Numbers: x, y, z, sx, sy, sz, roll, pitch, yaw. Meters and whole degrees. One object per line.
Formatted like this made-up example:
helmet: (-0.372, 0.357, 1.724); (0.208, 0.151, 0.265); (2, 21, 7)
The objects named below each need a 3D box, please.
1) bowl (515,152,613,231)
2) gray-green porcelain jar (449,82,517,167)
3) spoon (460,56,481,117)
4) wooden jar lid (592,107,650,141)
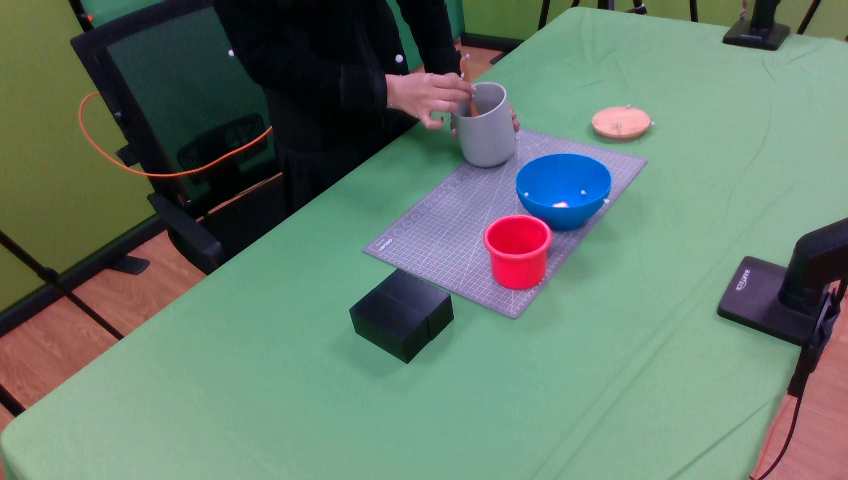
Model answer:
bowl: (0.224, -0.068, 0.972); (0.151, 0.077, 0.150); (-5, 40, 5)
gray-green porcelain jar: (0.112, -0.208, 1.114); (0.105, 0.127, 0.105); (-11, 46, 12)
spoon: (0.086, -0.241, 1.061); (0.041, 0.195, 0.021); (-27, 46, -2)
wooden jar lid: (0.382, -0.225, 1.178); (0.108, 0.021, 0.108); (-5, 40, 4)
